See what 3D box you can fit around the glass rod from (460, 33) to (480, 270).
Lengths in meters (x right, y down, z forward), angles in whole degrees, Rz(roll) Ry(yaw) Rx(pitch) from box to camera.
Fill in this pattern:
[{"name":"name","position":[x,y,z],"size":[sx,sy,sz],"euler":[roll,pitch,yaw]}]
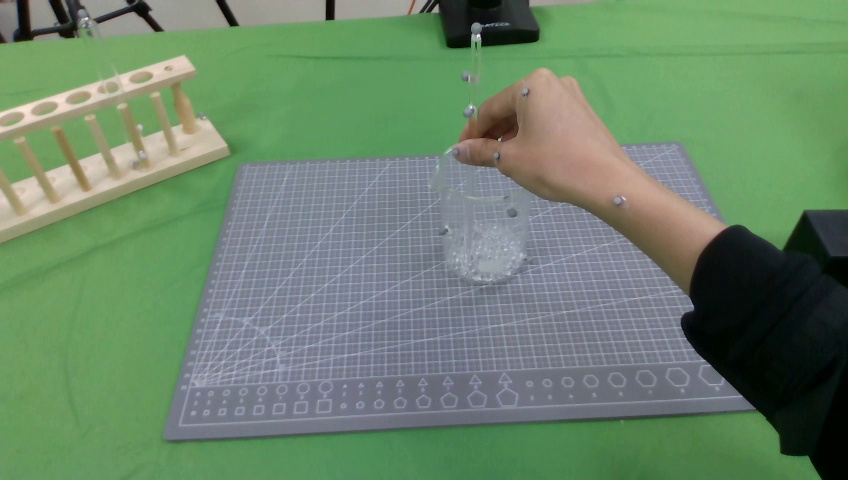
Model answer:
[{"name":"glass rod","position":[0.031,-0.050,0.434],"size":[0.008,0.201,0.008],"euler":[0,43,1]}]

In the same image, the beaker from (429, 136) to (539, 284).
[{"name":"beaker","position":[0.046,-0.019,0.481],"size":[0.084,0.101,0.073],"euler":[-16,47,-12]}]

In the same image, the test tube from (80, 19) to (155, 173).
[{"name":"test tube","position":[-0.274,-0.124,0.546],"size":[0.017,0.151,0.017],"euler":[0,43,1]}]

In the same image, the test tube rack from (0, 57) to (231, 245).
[{"name":"test tube rack","position":[-0.320,-0.085,0.573],"size":[0.242,0.086,0.066],"euler":[-26,51,-22]}]
